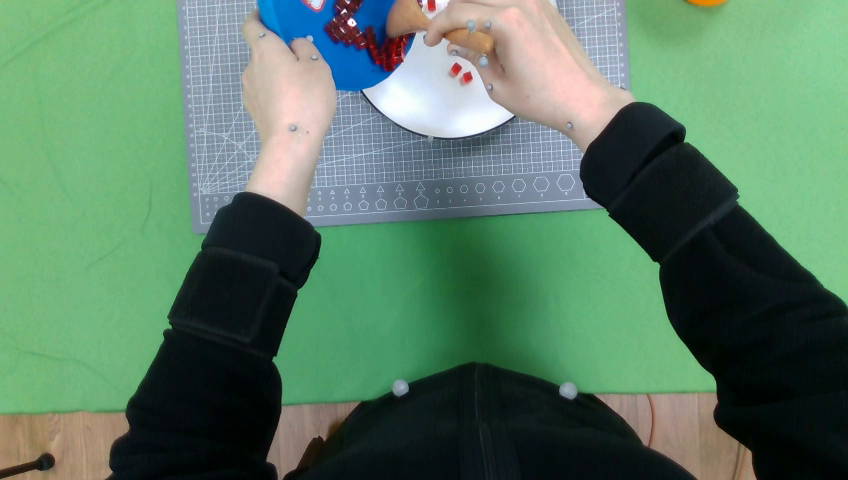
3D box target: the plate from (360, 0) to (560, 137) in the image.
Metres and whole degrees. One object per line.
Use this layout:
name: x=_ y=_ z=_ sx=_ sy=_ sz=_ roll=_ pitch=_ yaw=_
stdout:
plate: x=0.026 y=-0.203 z=0.591 sx=0.209 sy=0.038 sz=0.209 roll=0 pitch=91 yaw=3

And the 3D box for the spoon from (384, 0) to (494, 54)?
spoon: x=0.007 y=-0.161 z=0.454 sx=0.022 sy=0.191 sz=0.042 roll=21 pitch=105 yaw=-35

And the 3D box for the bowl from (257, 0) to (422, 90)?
bowl: x=-0.082 y=-0.206 z=0.502 sx=0.076 sy=0.153 sz=0.151 roll=24 pitch=92 yaw=41
